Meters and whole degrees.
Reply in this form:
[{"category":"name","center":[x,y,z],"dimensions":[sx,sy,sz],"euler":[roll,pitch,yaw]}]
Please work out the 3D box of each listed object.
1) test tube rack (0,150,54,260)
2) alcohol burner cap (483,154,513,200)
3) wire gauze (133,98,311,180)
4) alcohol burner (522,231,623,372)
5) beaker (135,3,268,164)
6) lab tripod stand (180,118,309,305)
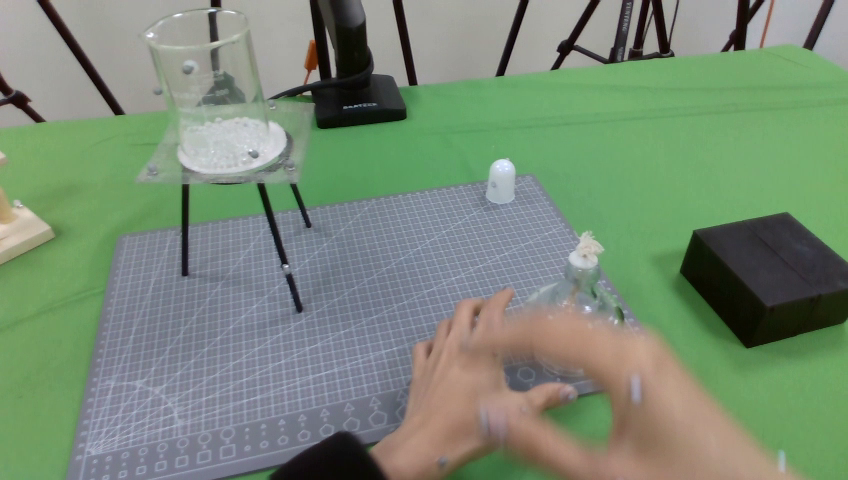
[{"category":"test tube rack","center":[-0.477,0.009,0.533],"dimensions":[0.066,0.086,0.242],"euler":[27,47,29]},{"category":"alcohol burner cap","center":[0.081,-0.070,0.653],"dimensions":[0.034,0.048,0.033],"euler":[0,40,0]},{"category":"wire gauze","center":[-0.159,-0.083,0.496],"dimensions":[0.125,0.011,0.120],"euler":[-3,39,1]},{"category":"alcohol burner","center":[0.115,0.044,0.462],"dimensions":[0.078,0.120,0.077],"euler":[-1,38,1]},{"category":"beaker","center":[-0.163,-0.115,0.459],"dimensions":[0.084,0.101,0.073],"euler":[2,41,3]},{"category":"lab tripod stand","center":[-0.155,-0.027,0.532],"dimensions":[0.148,0.133,0.147],"euler":[-1,42,1]}]
